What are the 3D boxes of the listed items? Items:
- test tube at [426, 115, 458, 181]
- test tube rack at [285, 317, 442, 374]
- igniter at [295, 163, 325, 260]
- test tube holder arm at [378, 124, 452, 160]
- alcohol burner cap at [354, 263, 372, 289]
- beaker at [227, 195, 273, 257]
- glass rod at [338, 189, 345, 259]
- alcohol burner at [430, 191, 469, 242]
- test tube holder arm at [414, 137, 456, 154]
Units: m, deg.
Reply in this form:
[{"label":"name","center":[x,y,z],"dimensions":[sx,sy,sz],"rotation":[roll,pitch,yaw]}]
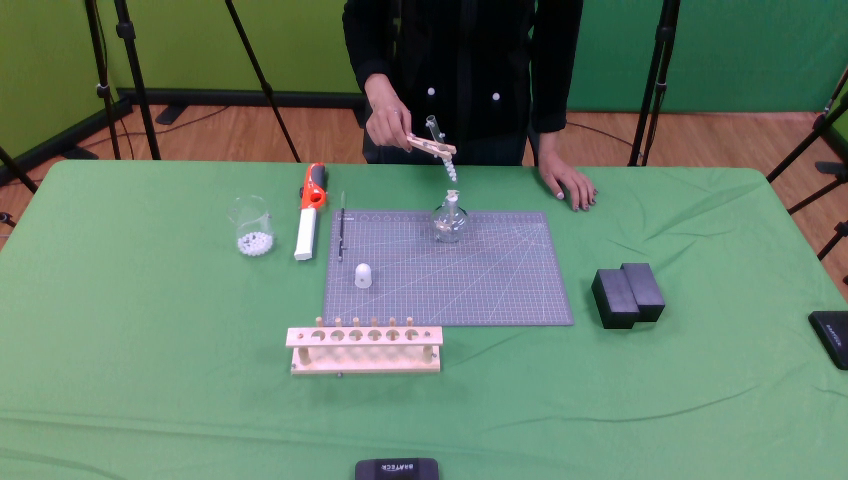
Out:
[{"label":"test tube","center":[0.033,-0.159,1.072],"dimensions":[0.017,0.151,0.017],"rotation":[-13,47,14]},{"label":"test tube rack","center":[-0.095,0.166,0.988],"dimensions":[0.242,0.085,0.066],"rotation":[0,46,-4]},{"label":"igniter","center":[-0.233,-0.067,1.243],"dimensions":[0.057,0.025,0.274],"rotation":[-7,46,4]},{"label":"test tube holder arm","center":[-0.020,-0.181,1.108],"dimensions":[0.177,0.015,0.013],"rotation":[26,64,33]},{"label":"alcohol burner cap","center":[-0.113,0.063,1.111],"dimensions":[0.034,0.048,0.033],"rotation":[2,46,-2]},{"label":"beaker","center":[-0.326,-0.022,1.142],"dimensions":[0.074,0.101,0.083],"rotation":[10,47,6]},{"label":"glass rod","center":[-0.166,-0.036,1.227],"dimensions":[0.008,0.008,0.198],"rotation":[-1,46,-4]},{"label":"alcohol burner","center":[0.051,-0.053,1.185],"dimensions":[0.078,0.119,0.077],"rotation":[2,48,-2]},{"label":"test tube holder arm","center":[0.018,-0.170,1.086],"dimensions":[0.087,0.015,0.010],"rotation":[18,60,29]}]
